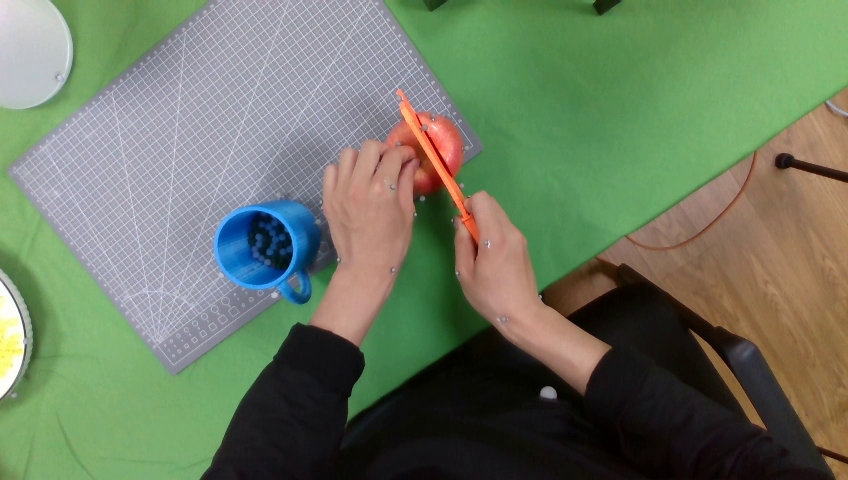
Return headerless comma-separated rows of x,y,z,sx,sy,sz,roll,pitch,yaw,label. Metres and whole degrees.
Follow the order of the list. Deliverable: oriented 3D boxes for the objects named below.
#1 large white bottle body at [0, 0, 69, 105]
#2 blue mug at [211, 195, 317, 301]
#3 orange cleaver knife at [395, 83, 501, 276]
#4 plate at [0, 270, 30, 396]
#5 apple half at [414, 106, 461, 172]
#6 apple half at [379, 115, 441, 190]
-0.451,-0.201,0.572,0.130,0.184,0.131,0,98,2,large white bottle body
-0.156,0.011,0.636,0.082,0.105,0.117,-28,97,5,blue mug
0.024,-0.060,0.609,0.012,0.076,0.212,-27,108,13,orange cleaver knife
-0.552,0.097,0.695,0.209,0.038,0.209,0,100,1,plate
0.018,-0.110,0.629,0.033,0.081,0.081,-33,96,3,apple half
-0.018,-0.087,0.633,0.053,0.074,0.081,-30,100,11,apple half
